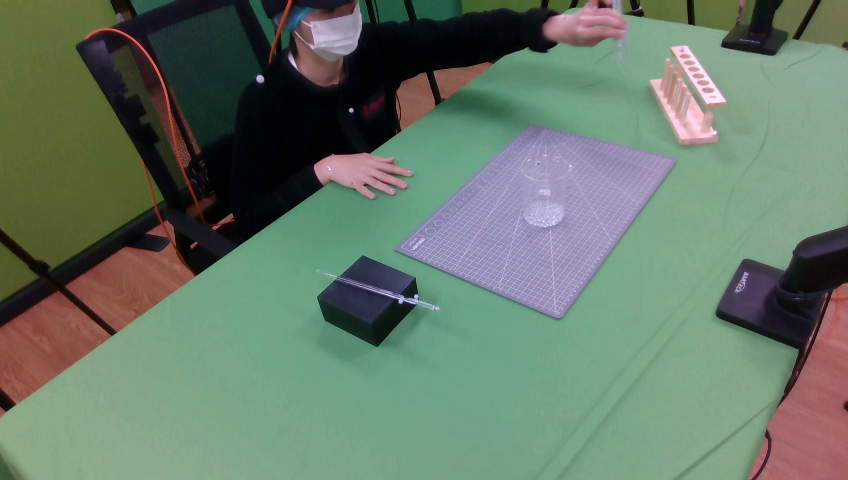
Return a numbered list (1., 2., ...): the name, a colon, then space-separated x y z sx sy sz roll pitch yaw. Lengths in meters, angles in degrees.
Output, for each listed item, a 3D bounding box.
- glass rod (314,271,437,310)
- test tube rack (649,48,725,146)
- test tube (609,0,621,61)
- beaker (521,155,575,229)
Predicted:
1. glass rod: -0.072 0.069 0.837 0.198 0.008 0.008 14 44 24
2. test tube rack: 0.508 -0.285 1.186 0.067 0.085 0.241 -4 40 6
3. test tube: 0.344 -0.381 1.089 0.017 0.017 0.149 1 61 10
4. beaker: 0.197 -0.075 0.969 0.084 0.101 0.073 -6 40 2
